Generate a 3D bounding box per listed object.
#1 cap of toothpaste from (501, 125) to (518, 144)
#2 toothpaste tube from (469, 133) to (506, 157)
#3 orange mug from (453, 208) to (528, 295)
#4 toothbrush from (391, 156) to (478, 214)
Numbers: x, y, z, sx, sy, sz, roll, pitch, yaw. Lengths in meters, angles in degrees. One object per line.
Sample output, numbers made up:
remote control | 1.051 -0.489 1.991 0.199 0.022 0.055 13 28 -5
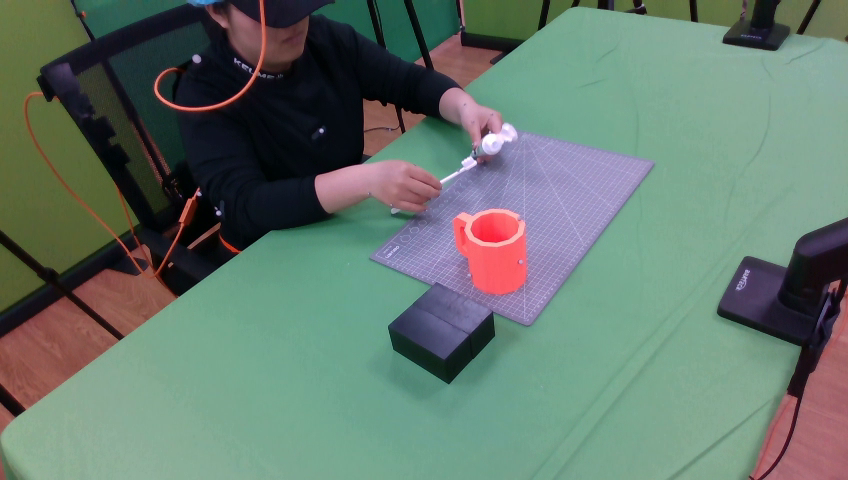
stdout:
cap of toothpaste | 0.141 -0.173 1.000 0.011 0.037 0.037 -33 45 -16
toothpaste tube | 0.112 -0.174 1.086 0.055 0.034 0.164 -53 11 0
orange mug | 0.095 0.009 0.894 0.125 0.101 0.084 32 55 33
toothbrush | 0.014 -0.092 1.032 0.181 0.017 0.014 -30 36 24
